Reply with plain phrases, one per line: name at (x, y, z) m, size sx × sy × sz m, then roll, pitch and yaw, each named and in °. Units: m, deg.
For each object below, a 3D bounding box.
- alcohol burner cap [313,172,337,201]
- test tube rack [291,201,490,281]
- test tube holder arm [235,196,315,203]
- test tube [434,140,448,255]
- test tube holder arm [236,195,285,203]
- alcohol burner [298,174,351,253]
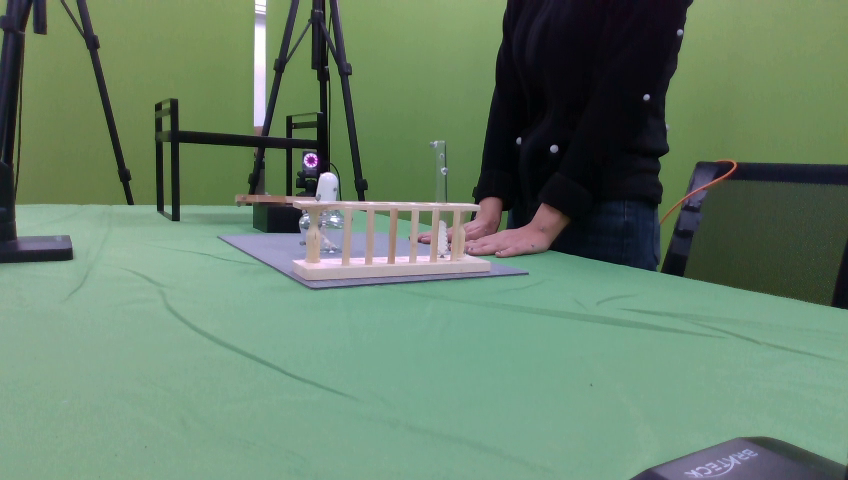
alcohol burner cap at (-0.144, -0.076, 0.888) m, size 0.034 × 0.048 × 0.034 m, roll 8°, pitch 6°, yaw -1°
test tube rack at (-0.035, -0.002, 0.745) m, size 0.243 × 0.085 × 0.066 m, roll -1°, pitch 8°, yaw -28°
test tube holder arm at (-0.267, -0.076, 1.152) m, size 0.179 × 0.015 × 0.013 m, roll -1°, pitch 2°, yaw -30°
test tube at (0.022, -0.054, 0.785) m, size 0.017 × 0.150 × 0.017 m, roll -1°, pitch 9°, yaw 1°
test tube holder arm at (-0.304, -0.076, 1.125) m, size 0.088 × 0.015 × 0.010 m, roll -1°, pitch 2°, yaw -29°
alcohol burner at (-0.146, -0.040, 0.894) m, size 0.078 × 0.119 × 0.078 m, roll 5°, pitch 7°, yaw 0°
